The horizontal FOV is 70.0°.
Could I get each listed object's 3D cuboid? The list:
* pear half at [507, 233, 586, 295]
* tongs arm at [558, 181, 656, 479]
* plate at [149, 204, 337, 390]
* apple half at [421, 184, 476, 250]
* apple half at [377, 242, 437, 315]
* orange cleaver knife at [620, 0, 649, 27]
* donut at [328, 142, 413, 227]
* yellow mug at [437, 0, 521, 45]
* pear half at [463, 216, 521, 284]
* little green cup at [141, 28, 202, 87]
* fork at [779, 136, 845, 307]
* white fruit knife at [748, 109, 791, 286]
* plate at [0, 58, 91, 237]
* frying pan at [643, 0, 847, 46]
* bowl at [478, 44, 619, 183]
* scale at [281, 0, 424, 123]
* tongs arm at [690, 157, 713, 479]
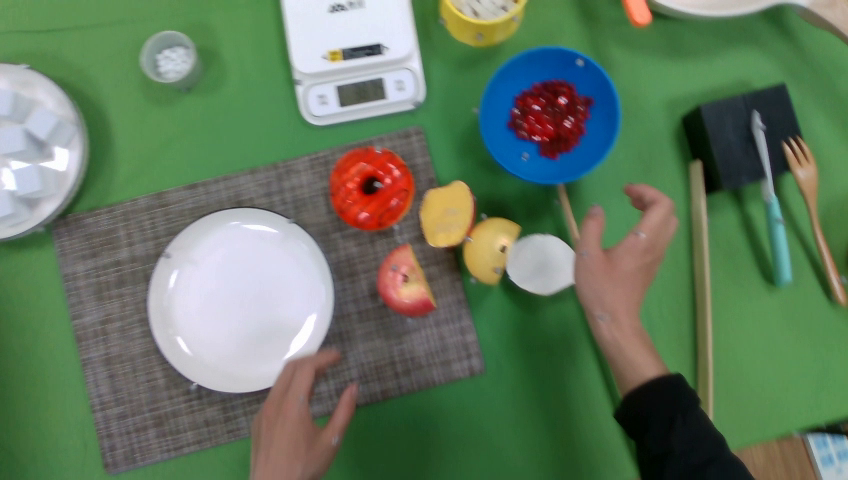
[{"bbox_3d":[0.140,0.030,0.692,0.087,0.031,0.070,12,83,15],"label":"pear half"},{"bbox_3d":[0.225,0.112,0.687,0.051,0.026,0.384,-14,88,-3],"label":"tongs arm"},{"bbox_3d":[-0.200,0.063,0.687,0.209,0.038,0.208,0,86,1],"label":"plate"},{"bbox_3d":[0.036,-0.026,0.694,0.080,0.033,0.081,11,106,43],"label":"apple half"},{"bbox_3d":[-0.024,0.047,0.670,0.053,0.074,0.081,-24,90,3],"label":"apple half"},{"bbox_3d":[0.209,-0.336,0.660,0.077,0.012,0.211,-24,87,-4],"label":"orange cleaver knife"},{"bbox_3d":[-0.062,-0.063,0.691,0.099,0.048,0.099,0,87,3],"label":"donut"},{"bbox_3d":[0.054,-0.296,0.697,0.130,0.064,0.100,43,88,4],"label":"yellow mug"},{"bbox_3d":[0.071,0.006,0.657,0.056,0.110,0.076,18,81,3],"label":"pear half"},{"bbox_3d":[-0.292,-0.210,0.708,0.061,0.038,0.061,0,86,1],"label":"little green cup"},{"bbox_3d":[0.439,-0.018,0.679,0.028,0.018,0.208,-24,102,-3],"label":"fork"},{"bbox_3d":[0.382,-0.043,0.673,0.016,0.027,0.208,-17,101,-1],"label":"white fruit knife"},{"bbox_3d":[-0.487,-0.105,0.704,0.208,0.039,0.207,0,86,0],"label":"plate"},{"bbox_3d":[0.385,-0.313,0.677,0.307,0.103,0.485,-41,79,-1],"label":"frying pan"},{"bbox_3d":[0.133,-0.133,0.681,0.151,0.077,0.151,0,87,0],"label":"bowl"},{"bbox_3d":[-0.087,-0.247,0.712,0.149,0.031,0.200,-10,87,0],"label":"scale"},{"bbox_3d":[0.309,0.099,0.688,0.028,0.028,0.387,1,88,-5],"label":"tongs arm"}]
